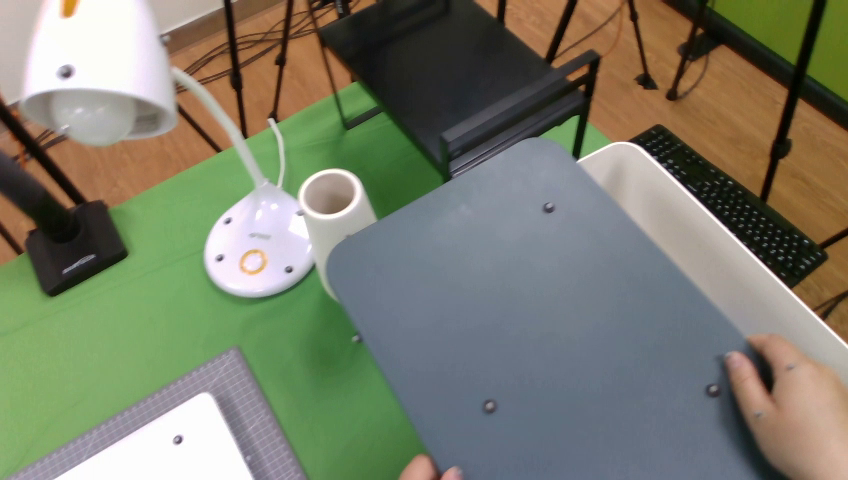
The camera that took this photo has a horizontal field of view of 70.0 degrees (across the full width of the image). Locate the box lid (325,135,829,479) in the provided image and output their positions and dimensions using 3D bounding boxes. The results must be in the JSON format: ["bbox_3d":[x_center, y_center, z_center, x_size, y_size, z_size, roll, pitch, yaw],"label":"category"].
[{"bbox_3d":[0.106,0.081,0.502,0.263,0.015,0.368,-30,64,-13],"label":"box lid"}]

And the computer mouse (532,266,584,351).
[{"bbox_3d":[0.165,0.081,0.749,0.062,0.041,0.116,1,54,9],"label":"computer mouse"}]

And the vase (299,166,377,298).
[{"bbox_3d":[-0.093,-0.002,0.731,0.098,0.202,0.097,-3,58,5],"label":"vase"}]

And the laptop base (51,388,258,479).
[{"bbox_3d":[-0.339,0.346,0.642,0.354,0.023,0.233,-31,66,-14],"label":"laptop base"}]

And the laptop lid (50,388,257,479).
[{"bbox_3d":[-0.339,0.342,0.632,0.357,0.013,0.239,-29,64,-13],"label":"laptop lid"}]

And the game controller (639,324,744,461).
[{"bbox_3d":[0.301,0.165,0.683,0.097,0.052,0.154,0,57,5],"label":"game controller"}]

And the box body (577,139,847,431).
[{"bbox_3d":[0.227,0.099,0.667,0.254,0.162,0.360,-29,61,-12],"label":"box body"}]

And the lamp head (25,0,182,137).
[{"bbox_3d":[-0.257,-0.155,0.497,0.112,0.113,0.122,-5,76,2],"label":"lamp head"}]

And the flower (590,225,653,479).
[{"bbox_3d":[0.241,0.141,0.714,0.044,0.038,0.358,-18,54,26],"label":"flower"}]

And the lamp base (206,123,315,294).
[{"bbox_3d":[-0.228,-0.048,0.781,0.160,0.182,0.177,-2,56,4],"label":"lamp base"}]
